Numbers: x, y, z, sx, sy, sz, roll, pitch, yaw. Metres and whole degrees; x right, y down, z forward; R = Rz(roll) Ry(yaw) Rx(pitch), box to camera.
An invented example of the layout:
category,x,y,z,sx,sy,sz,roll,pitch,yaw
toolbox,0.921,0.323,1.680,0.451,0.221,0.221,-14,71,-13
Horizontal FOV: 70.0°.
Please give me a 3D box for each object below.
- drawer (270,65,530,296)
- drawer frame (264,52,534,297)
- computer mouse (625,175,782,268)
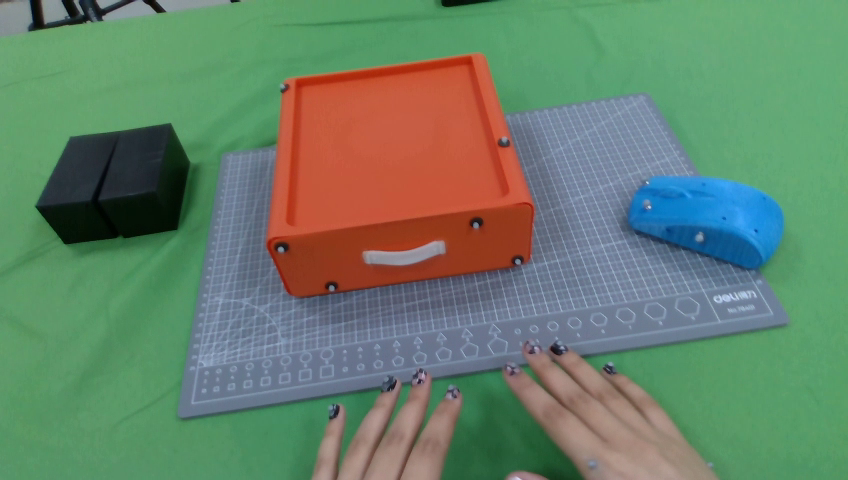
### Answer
category,x,y,z,sx,sy,sz,roll,pitch,yaw
drawer,-0.025,-0.062,0.533,0.194,0.074,0.209,-9,47,0
drawer frame,-0.026,-0.064,0.533,0.202,0.083,0.211,-9,47,-1
computer mouse,0.228,-0.022,0.497,0.116,0.041,0.062,20,56,28
